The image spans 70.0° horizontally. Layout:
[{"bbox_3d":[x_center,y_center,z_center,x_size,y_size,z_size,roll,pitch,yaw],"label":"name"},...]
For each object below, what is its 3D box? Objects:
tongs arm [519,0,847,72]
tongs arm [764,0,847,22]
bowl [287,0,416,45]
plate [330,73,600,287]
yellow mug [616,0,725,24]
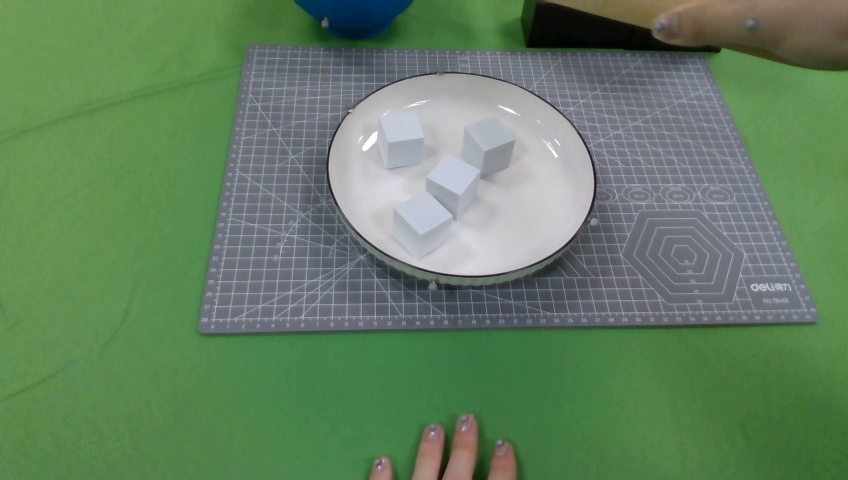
[{"bbox_3d":[0.068,-0.168,0.385,0.384,0.028,0.028,29,52,30],"label":"tongs arm"},{"bbox_3d":[0.108,-0.200,0.408,0.051,0.027,0.381,-37,53,-26],"label":"tongs arm"},{"bbox_3d":[-0.069,-0.244,0.584,0.151,0.077,0.150,2,56,-2],"label":"bowl"},{"bbox_3d":[0.031,-0.049,0.480,0.208,0.039,0.205,2,56,-2],"label":"plate"},{"bbox_3d":[0.227,-0.254,0.558,0.131,0.064,0.099,-15,58,-12],"label":"yellow mug"}]
